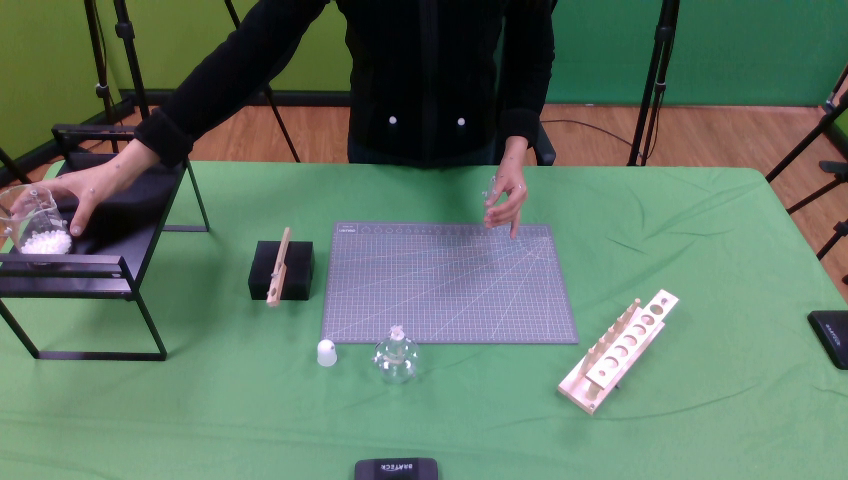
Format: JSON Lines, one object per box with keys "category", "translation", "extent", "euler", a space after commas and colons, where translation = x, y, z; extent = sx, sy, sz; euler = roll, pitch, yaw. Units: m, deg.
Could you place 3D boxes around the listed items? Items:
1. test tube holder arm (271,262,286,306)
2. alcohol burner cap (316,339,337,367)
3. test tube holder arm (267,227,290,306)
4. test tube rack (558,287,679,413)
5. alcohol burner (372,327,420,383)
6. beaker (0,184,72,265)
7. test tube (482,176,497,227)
{"category": "test tube holder arm", "translation": [-0.249, 0.074, 1.039], "extent": [0.010, 0.015, 0.087], "euler": [-6, 46, 5]}
{"category": "alcohol burner cap", "translation": [-0.161, 0.182, 0.995], "extent": [0.034, 0.048, 0.033], "euler": [1, 47, -1]}
{"category": "test tube holder arm", "translation": [-0.256, 0.042, 1.071], "extent": [0.013, 0.015, 0.177], "euler": [-6, 46, 5]}
{"category": "test tube rack", "translation": [0.326, 0.170, 1.009], "extent": [0.066, 0.085, 0.242], "euler": [36, 54, 27]}
{"category": "alcohol burner", "translation": [-0.045, 0.175, 0.961], "extent": [0.078, 0.120, 0.077], "euler": [1, 48, -1]}
{"category": "beaker", "translation": [-0.557, -0.019, 0.871], "extent": [0.084, 0.101, 0.073], "euler": [4, 47, -2]}
{"category": "test tube", "translation": [0.114, -0.064, 1.066], "extent": [0.017, 0.151, 0.017], "euler": [0, 62, 1]}
